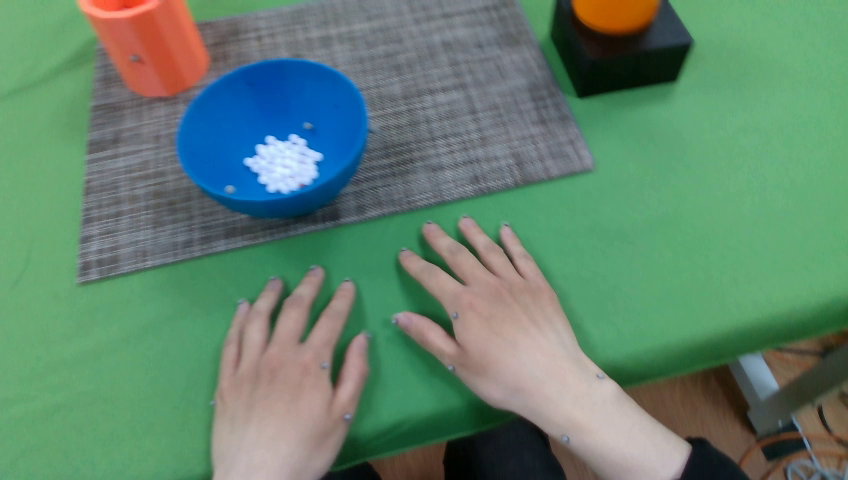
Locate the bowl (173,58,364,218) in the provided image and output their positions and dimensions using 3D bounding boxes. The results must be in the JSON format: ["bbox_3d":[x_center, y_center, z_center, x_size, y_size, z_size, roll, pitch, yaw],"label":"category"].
[{"bbox_3d":[-0.120,-0.071,0.509,0.151,0.077,0.150,-1,58,2],"label":"bowl"}]

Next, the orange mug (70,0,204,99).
[{"bbox_3d":[-0.273,-0.217,0.592,0.083,0.101,0.125,-3,63,1],"label":"orange mug"}]
